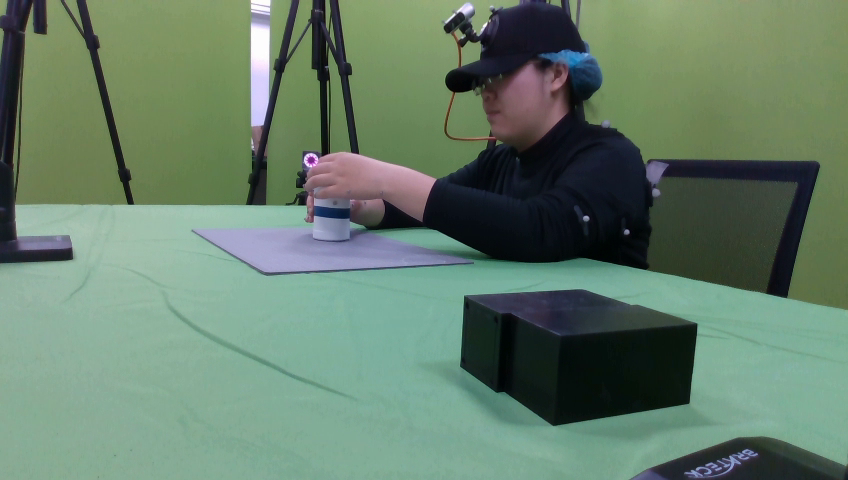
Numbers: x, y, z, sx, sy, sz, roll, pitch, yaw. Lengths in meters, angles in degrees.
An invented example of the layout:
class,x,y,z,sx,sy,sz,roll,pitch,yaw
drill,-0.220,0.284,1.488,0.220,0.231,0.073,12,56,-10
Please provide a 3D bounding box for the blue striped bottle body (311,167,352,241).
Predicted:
class,x,y,z,sx,sy,sz,roll,pitch,yaw
blue striped bottle body,-0.156,-0.062,1.021,0.063,0.120,0.063,5,6,0

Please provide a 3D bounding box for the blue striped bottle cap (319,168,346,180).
class,x,y,z,sx,sy,sz,roll,pitch,yaw
blue striped bottle cap,-0.153,-0.111,1.014,0.044,0.020,0.044,2,7,0
